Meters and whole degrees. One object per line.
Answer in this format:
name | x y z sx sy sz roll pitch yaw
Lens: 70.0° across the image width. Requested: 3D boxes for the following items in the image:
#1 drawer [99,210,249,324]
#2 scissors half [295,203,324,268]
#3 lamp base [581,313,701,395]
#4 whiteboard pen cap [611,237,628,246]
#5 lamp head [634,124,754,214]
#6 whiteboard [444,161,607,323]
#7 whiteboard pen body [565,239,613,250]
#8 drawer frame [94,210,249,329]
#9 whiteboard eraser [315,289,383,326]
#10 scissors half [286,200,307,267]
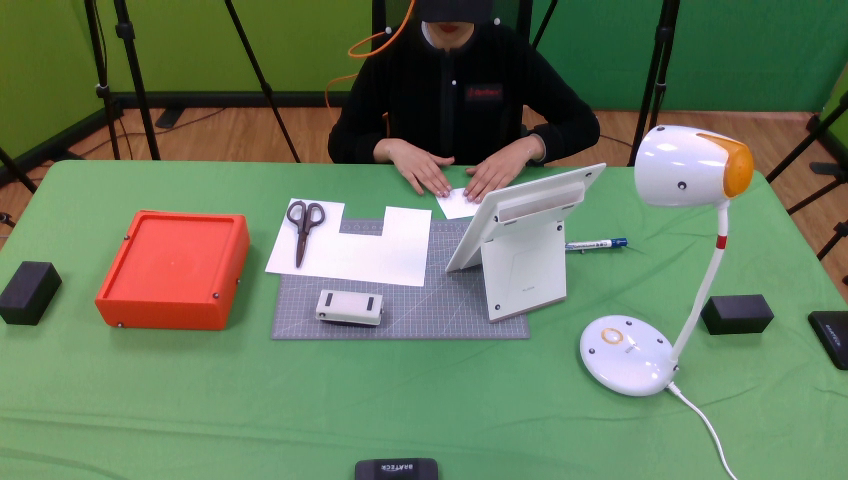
drawer | -0.435 0.044 1.081 0.194 0.073 0.210 3 47 -2
scissors half | -0.230 -0.011 1.195 0.040 0.013 0.174 14 47 -3
lamp base | 0.361 0.144 0.972 0.178 0.181 0.160 34 53 23
whiteboard pen cap | 0.390 0.004 1.215 0.033 0.018 0.018 -7 47 -2
lamp head | 0.351 -0.089 0.775 0.112 0.113 0.122 -30 30 -28
whiteboard | 0.186 0.025 1.029 0.217 0.306 0.143 -14 68 -18
whiteboard pen body | 0.331 0.008 1.211 0.141 0.017 0.017 -5 47 -4
drawer frame | -0.434 0.048 1.076 0.202 0.083 0.212 2 47 -3
whiteboard eraser | -0.130 0.119 1.054 0.113 0.042 0.055 6 47 1
scissors half | -0.250 -0.013 1.192 0.040 0.013 0.174 -3 49 -12
